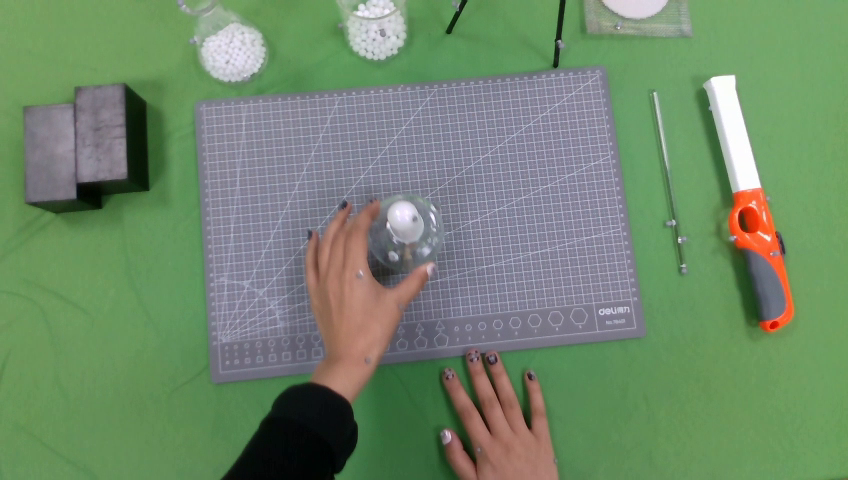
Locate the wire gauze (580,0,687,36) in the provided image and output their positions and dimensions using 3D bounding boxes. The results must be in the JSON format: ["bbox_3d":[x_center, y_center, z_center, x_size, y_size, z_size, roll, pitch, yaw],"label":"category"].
[{"bbox_3d":[0.236,-0.291,0.687,0.125,0.011,0.121,-1,83,-4],"label":"wire gauze"}]

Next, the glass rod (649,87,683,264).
[{"bbox_3d":[0.263,-0.072,0.659,0.008,0.008,0.199,-5,83,-3],"label":"glass rod"}]

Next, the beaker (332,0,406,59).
[{"bbox_3d":[-0.052,-0.240,0.626,0.084,0.100,0.074,-32,84,-6],"label":"beaker"}]

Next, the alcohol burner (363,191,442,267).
[{"bbox_3d":[-0.021,-0.014,0.586,0.078,0.119,0.077,0,79,-2],"label":"alcohol burner"}]

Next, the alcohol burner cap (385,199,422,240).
[{"bbox_3d":[-0.020,-0.021,0.551,0.034,0.048,0.033,-1,76,4],"label":"alcohol burner cap"}]

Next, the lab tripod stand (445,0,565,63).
[{"bbox_3d":[0.096,-0.258,0.615,0.148,0.131,0.148,0,84,-1],"label":"lab tripod stand"}]

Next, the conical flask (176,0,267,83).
[{"bbox_3d":[-0.207,-0.214,0.606,0.075,0.122,0.075,0,82,-1],"label":"conical flask"}]

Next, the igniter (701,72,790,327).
[{"bbox_3d":[0.343,-0.046,0.648,0.057,0.025,0.275,-8,83,-13],"label":"igniter"}]
